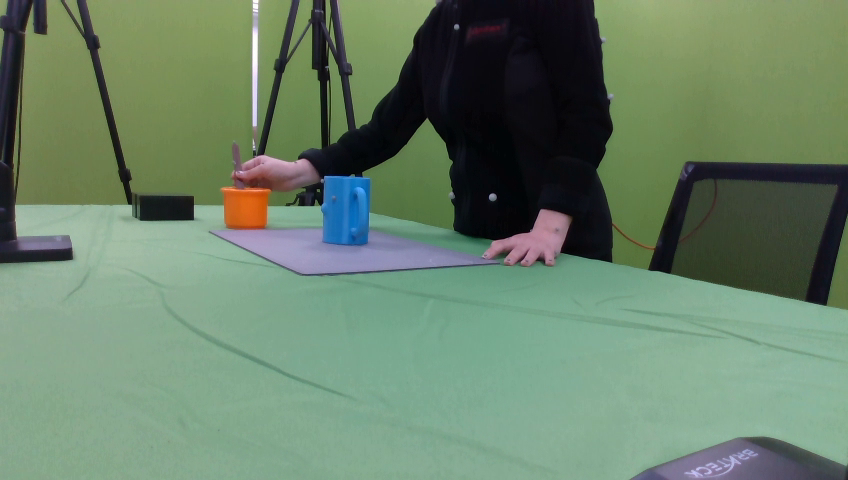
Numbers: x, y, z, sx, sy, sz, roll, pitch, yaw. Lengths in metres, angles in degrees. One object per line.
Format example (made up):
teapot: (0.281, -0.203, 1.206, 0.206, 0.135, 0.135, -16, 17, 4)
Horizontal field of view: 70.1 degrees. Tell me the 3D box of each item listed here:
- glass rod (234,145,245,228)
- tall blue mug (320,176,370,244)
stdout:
glass rod: (-0.357, -0.106, 1.168, 0.008, 0.199, 0.008, -12, -29, -6)
tall blue mug: (-0.117, -0.049, 0.991, 0.106, 0.108, 0.078, 7, 8, 33)
